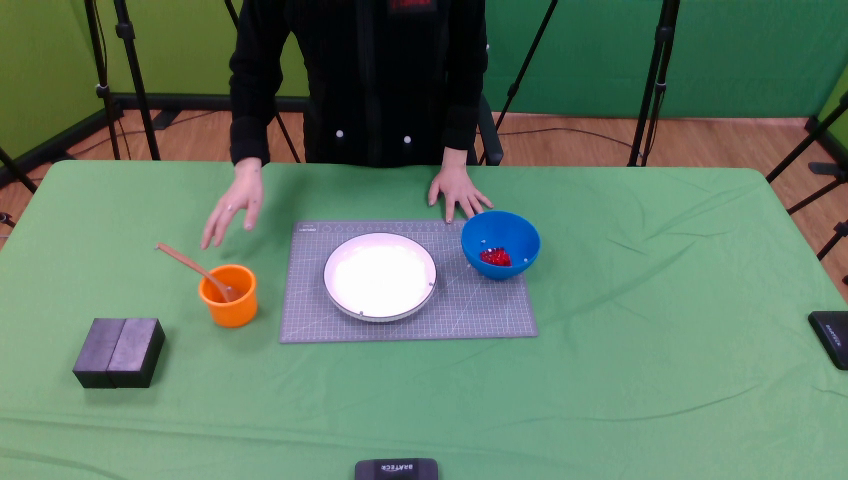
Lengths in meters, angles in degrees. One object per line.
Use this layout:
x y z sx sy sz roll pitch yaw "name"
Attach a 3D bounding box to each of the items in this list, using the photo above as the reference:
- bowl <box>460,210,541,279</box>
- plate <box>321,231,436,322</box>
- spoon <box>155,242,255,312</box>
0.140 0.021 1.145 0.151 0.077 0.150 2 46 -2 "bowl"
-0.083 0.070 1.109 0.209 0.038 0.208 3 46 -3 "plate"
-0.366 0.061 1.021 0.021 0.195 0.041 -27 32 32 "spoon"
